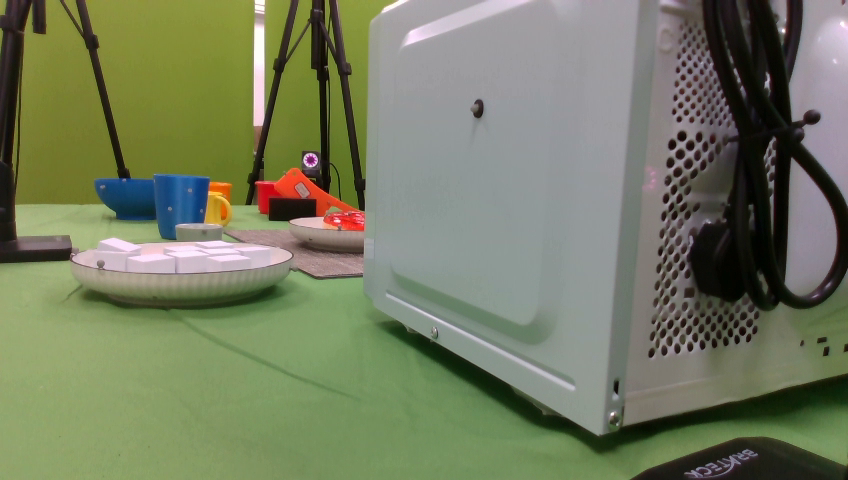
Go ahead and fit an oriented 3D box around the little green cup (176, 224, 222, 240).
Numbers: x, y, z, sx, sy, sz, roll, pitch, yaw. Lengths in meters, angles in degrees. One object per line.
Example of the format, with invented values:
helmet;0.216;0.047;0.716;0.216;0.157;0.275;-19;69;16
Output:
little green cup;-0.312;-0.001;0.842;0.061;0.038;0.061;2;8;0

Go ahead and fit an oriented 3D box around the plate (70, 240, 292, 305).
plate;-0.242;0.031;0.618;0.208;0.039;0.207;2;8;0

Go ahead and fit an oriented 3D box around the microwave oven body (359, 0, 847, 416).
microwave oven body;0.211;-0.047;0.474;0.444;0.260;0.324;-1;7;-28

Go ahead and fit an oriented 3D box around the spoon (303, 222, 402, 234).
spoon;-0.127;-0.024;1.105;0.195;0.021;0.041;-3;-16;-31

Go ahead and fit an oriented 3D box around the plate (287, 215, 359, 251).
plate;-0.111;-0.012;0.960;0.209;0.038;0.209;3;8;0

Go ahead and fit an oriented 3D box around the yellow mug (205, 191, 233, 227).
yellow mug;-0.415;-0.057;1.132;0.130;0.064;0.100;6;8;16

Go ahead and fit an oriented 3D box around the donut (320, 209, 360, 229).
donut;-0.115;-0.023;0.961;0.099;0.048;0.099;5;9;0

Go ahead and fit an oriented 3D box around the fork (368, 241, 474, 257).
fork;0.004;0.012;0.885;0.208;0.018;0.028;-6;-3;-45

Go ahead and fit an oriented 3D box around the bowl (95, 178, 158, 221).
bowl;-0.576;-0.081;1.217;0.151;0.077;0.151;3;8;0

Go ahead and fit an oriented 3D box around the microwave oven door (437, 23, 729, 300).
microwave oven door;0.181;-0.072;0.621;0.358;0.243;0.039;-2;8;-29

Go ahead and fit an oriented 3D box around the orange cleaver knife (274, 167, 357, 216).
orange cleaver knife;-0.238;-0.091;1.381;0.212;0.077;0.012;31;1;-19

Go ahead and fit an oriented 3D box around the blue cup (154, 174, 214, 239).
blue cup;-0.390;-0.053;0.978;0.093;0.100;0.092;3;6;0

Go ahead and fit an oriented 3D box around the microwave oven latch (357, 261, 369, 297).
microwave oven latch;-0.019;0.033;0.530;0.079;0.029;0.030;-1;7;-27
